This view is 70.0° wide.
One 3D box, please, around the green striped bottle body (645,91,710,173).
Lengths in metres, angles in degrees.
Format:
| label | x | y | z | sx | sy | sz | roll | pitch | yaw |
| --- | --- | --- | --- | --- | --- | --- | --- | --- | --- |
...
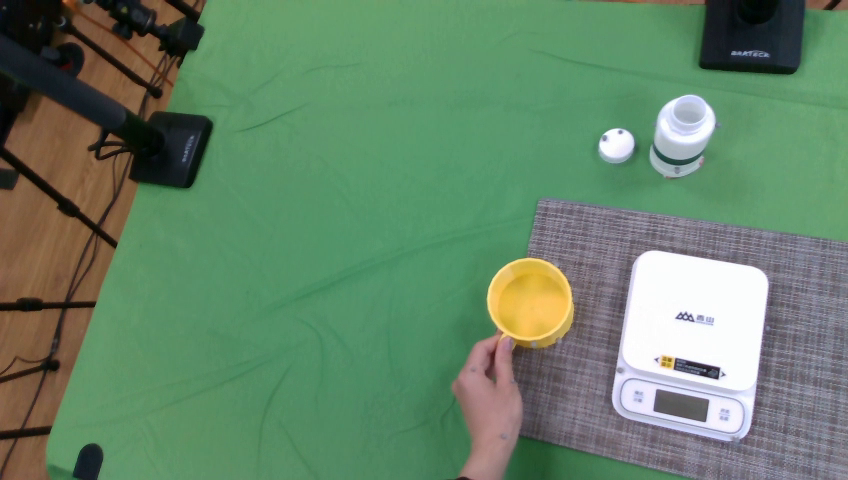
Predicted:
| label | x | y | z | sx | sy | sz | roll | pitch | yaw |
| --- | --- | --- | --- | --- | --- | --- | --- | --- | --- |
| green striped bottle body | 0.305 | -0.132 | 0.732 | 0.063 | 0.120 | 0.063 | -4 | 71 | 13 |

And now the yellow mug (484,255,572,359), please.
| label | x | y | z | sx | sy | sz | roll | pitch | yaw |
| --- | --- | --- | --- | --- | --- | --- | --- | --- | --- |
| yellow mug | 0.120 | 0.087 | 0.736 | 0.099 | 0.064 | 0.130 | 29 | 84 | 21 |

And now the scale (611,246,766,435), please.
| label | x | y | z | sx | sy | sz | roll | pitch | yaw |
| --- | --- | --- | --- | --- | --- | --- | --- | --- | --- |
| scale | 0.305 | 0.111 | 0.701 | 0.148 | 0.032 | 0.200 | 9 | 76 | 17 |

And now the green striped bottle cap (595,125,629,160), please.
| label | x | y | z | sx | sy | sz | roll | pitch | yaw |
| --- | --- | --- | --- | --- | --- | --- | --- | --- | --- |
| green striped bottle cap | 0.250 | -0.130 | 0.803 | 0.044 | 0.020 | 0.044 | -3 | 78 | 14 |
